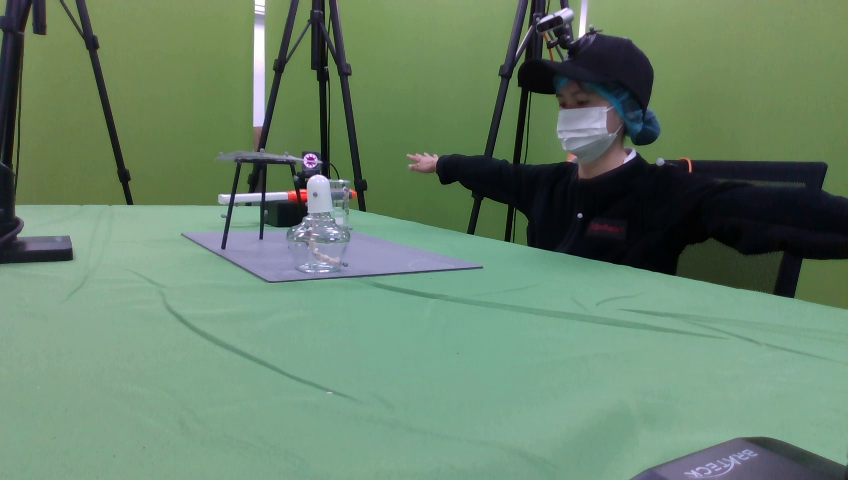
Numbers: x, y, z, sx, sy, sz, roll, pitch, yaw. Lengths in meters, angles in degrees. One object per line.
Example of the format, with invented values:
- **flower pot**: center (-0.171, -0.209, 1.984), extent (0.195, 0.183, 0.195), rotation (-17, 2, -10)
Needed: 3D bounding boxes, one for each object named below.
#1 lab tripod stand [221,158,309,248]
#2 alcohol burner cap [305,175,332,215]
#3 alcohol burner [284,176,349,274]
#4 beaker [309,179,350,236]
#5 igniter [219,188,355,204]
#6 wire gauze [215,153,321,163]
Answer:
- **lab tripod stand**: center (-0.244, -0.057, 0.917), extent (0.148, 0.131, 0.148), rotation (1, 7, 0)
- **alcohol burner cap**: center (-0.130, -0.054, 0.733), extent (0.034, 0.048, 0.034), rotation (-4, 8, 1)
- **alcohol burner**: center (-0.130, -0.019, 0.738), extent (0.078, 0.119, 0.078), rotation (4, 5, 0)
- **beaker**: center (-0.176, -0.060, 1.104), extent (0.073, 0.100, 0.084), rotation (8, 10, 39)
- **igniter**: center (-0.274, -0.090, 1.237), extent (0.278, 0.025, 0.057), rotation (-5, 11, -30)
- **wire gauze**: center (-0.235, -0.123, 0.906), extent (0.126, 0.011, 0.121), rotation (-2, 7, -33)
